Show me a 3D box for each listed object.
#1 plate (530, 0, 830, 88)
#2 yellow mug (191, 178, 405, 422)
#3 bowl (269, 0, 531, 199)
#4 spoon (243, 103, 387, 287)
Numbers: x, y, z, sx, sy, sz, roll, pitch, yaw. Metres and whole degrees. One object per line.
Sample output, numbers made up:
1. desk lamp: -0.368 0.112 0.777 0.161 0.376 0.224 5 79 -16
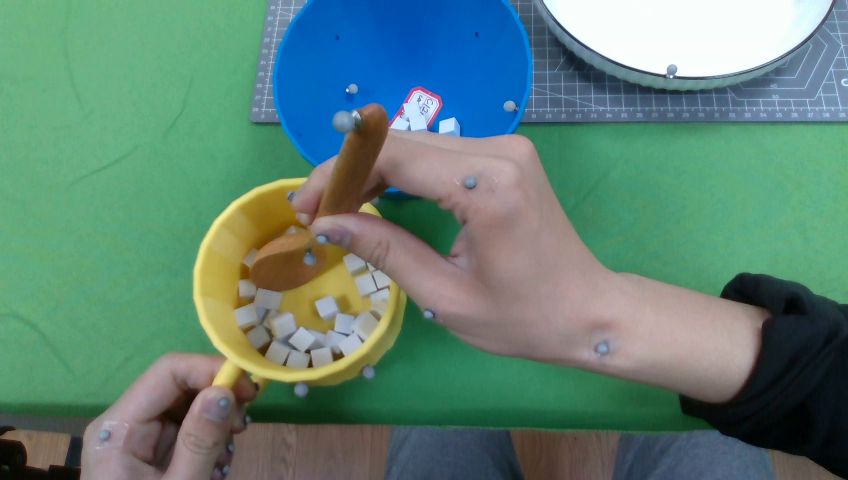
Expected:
1. plate: 0.171 -0.192 0.424 0.209 0.038 0.207 -1 70 4
2. yellow mug: -0.069 0.038 0.316 0.099 0.064 0.130 31 78 7
3. bowl: -0.011 -0.087 0.381 0.151 0.077 0.150 -1 74 5
4. spoon: -0.048 -0.007 0.260 0.042 0.193 0.021 -6 78 -25
